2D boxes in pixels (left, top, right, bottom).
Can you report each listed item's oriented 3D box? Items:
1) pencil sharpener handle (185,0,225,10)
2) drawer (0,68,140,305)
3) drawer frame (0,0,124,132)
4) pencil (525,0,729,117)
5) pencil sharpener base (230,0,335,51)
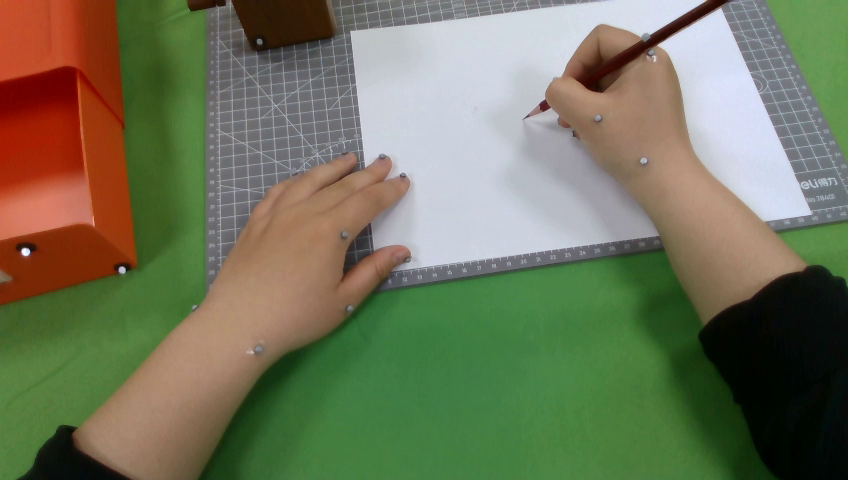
[{"bbox_3d":[-0.164,-0.193,0.430,0.030,0.068,0.035,-14,63,-3],"label":"pencil sharpener handle"},{"bbox_3d":[-0.310,-0.056,0.405,0.194,0.074,0.210,-16,66,-5],"label":"drawer"},{"bbox_3d":[-0.343,-0.159,0.450,0.202,0.083,0.211,-15,66,-5],"label":"drawer frame"},{"bbox_3d":[0.128,-0.116,0.369,0.012,0.193,0.012,11,69,-32],"label":"pencil"},{"bbox_3d":[-0.114,-0.200,0.445,0.077,0.108,0.061,-14,66,-4],"label":"pencil sharpener base"}]
